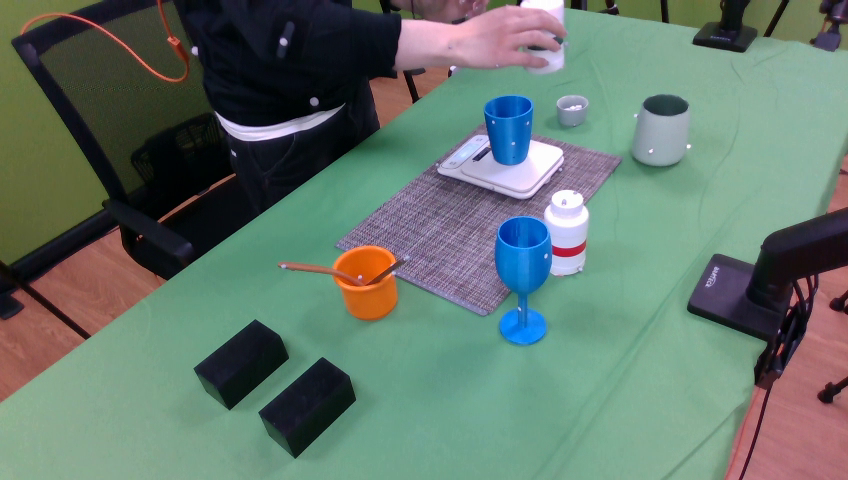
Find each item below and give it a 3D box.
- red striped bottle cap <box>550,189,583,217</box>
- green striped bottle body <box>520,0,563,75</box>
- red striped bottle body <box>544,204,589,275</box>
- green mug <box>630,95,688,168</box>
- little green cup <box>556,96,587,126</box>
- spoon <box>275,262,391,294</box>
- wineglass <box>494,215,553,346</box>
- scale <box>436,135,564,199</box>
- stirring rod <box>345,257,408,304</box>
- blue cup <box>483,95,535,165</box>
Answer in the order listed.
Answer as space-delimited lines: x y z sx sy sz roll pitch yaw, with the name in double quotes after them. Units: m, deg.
0.199 -0.052 0.843 0.044 0.018 0.044 -2 42 2 "red striped bottle cap"
0.176 -0.315 0.903 0.063 0.120 0.063 -6 38 5 "green striped bottle body"
0.206 -0.011 0.877 0.063 0.120 0.062 -5 41 4 "red striped bottle body"
0.421 -0.201 1.081 0.092 0.105 0.125 5 42 15 "green mug"
0.295 -0.258 1.214 0.061 0.039 0.061 -4 42 4 "little green cup"
-0.120 0.050 0.830 0.041 0.195 0.021 31 97 45 "spoon"
0.127 0.054 0.770 0.074 0.173 0.073 -4 40 4 "wineglass"
0.137 -0.142 1.101 0.199 0.032 0.149 22 48 30 "scale"
-0.067 0.057 0.814 0.014 0.175 0.006 -24 82 -38 "stirring rod"
0.148 -0.188 1.053 0.092 0.100 0.092 -6 39 5 "blue cup"
